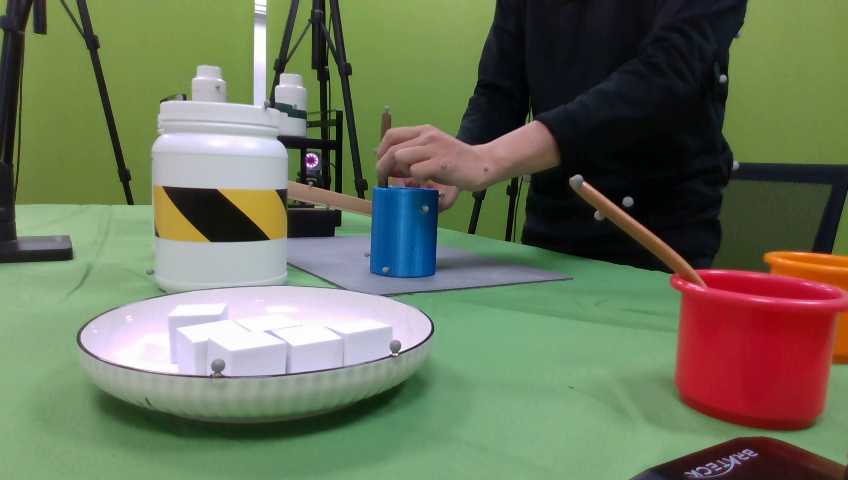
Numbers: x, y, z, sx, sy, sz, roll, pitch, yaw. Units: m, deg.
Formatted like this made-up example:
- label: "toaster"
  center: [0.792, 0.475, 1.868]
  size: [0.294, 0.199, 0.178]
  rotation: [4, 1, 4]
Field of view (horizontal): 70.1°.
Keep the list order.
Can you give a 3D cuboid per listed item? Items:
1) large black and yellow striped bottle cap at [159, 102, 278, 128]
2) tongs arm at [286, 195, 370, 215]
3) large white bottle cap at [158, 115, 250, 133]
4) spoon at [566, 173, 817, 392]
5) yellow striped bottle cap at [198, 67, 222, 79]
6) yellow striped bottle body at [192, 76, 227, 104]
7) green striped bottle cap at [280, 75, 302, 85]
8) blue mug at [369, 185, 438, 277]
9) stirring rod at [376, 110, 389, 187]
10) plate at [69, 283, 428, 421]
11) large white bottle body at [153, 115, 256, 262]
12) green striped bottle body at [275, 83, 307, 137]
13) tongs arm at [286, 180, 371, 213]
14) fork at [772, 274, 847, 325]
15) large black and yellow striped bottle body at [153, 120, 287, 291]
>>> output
- label: "large black and yellow striped bottle cap"
  center: [-0.207, -0.125, 0.615]
  size: [0.115, 0.019, 0.115]
  rotation: [2, 6, 0]
- label: "tongs arm"
  center: [-0.165, -0.074, 1.216]
  size: [0.389, 0.027, 0.028]
  rotation: [11, -6, -24]
- label: "large white bottle cap"
  center: [-0.291, -0.153, 0.803]
  size: [0.115, 0.018, 0.115]
  rotation: [1, 7, 0]
- label: "spoon"
  center: [0.161, 0.024, 0.370]
  size: [0.193, 0.021, 0.042]
  rotation: [47, 17, 3]
- label: "yellow striped bottle cap"
  center: [-0.412, -0.320, 1.162]
  size: [0.044, 0.018, 0.044]
  rotation: [0, 5, 0]
- label: "yellow striped bottle body"
  center: [-0.414, -0.268, 1.169]
  size: [0.063, 0.120, 0.063]
  rotation: [2, 7, 0]
- label: "green striped bottle cap"
  center: [-0.267, -0.320, 1.216]
  size: [0.044, 0.020, 0.044]
  rotation: [2, 8, 0]
- label: "blue mug"
  center: [-0.025, -0.016, 0.761]
  size: [0.082, 0.106, 0.116]
  rotation: [2, 7, 0]
- label: "stirring rod"
  center: [-0.052, -0.068, 0.736]
  size: [0.014, 0.176, 0.006]
  rotation: [10, 11, 37]
- label: "plate"
  center: [-0.102, 0.066, 0.381]
  size: [0.208, 0.039, 0.207]
  rotation: [2, 7, 0]
- label: "large white bottle body"
  center: [-0.293, -0.070, 0.813]
  size: [0.131, 0.184, 0.130]
  rotation: [2, 7, 0]
- label: "green striped bottle body"
  center: [-0.269, -0.269, 1.221]
  size: [0.063, 0.119, 0.063]
  rotation: [2, 7, 0]
- label: "tongs arm"
  center: [-0.122, -0.066, 1.147]
  size: [0.387, 0.026, 0.050]
  rotation: [11, -2, -37]
- label: "fork"
  center: [0.332, 0.018, 0.444]
  size: [0.028, 0.018, 0.207]
  rotation: [0, -36, -14]
- label: "large black and yellow striped bottle body"
  center: [-0.208, -0.042, 0.626]
  size: [0.131, 0.184, 0.130]
  rotation: [2, 7, 0]
